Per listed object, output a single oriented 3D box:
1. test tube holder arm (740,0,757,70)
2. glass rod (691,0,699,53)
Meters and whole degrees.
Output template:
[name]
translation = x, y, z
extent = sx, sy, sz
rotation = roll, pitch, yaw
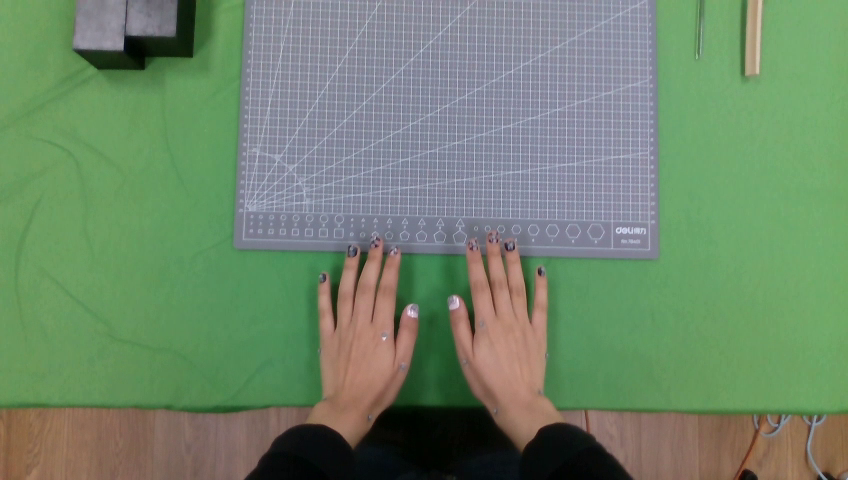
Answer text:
[test tube holder arm]
translation = 0.365, -0.277, 0.674
extent = 0.013, 0.015, 0.178
rotation = 10, 84, -31
[glass rod]
translation = 0.308, -0.307, 0.682
extent = 0.008, 0.008, 0.199
rotation = 6, 85, -2
